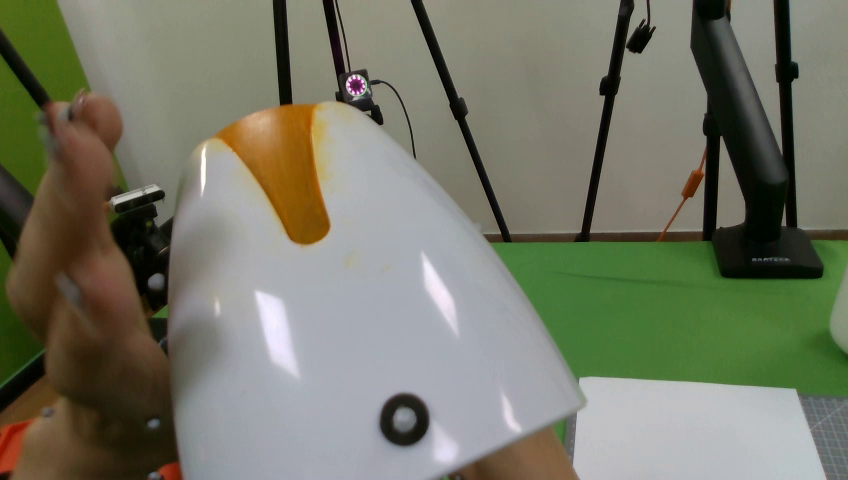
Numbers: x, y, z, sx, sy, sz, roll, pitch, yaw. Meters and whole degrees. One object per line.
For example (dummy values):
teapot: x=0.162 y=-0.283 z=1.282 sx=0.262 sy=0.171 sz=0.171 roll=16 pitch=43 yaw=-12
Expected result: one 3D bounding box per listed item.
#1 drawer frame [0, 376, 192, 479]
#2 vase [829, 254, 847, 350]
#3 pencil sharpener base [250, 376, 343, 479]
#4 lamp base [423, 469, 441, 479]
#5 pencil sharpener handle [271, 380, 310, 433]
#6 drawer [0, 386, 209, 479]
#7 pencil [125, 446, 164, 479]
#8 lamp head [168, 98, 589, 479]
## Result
drawer frame: x=-0.318 y=0.242 z=0.564 sx=0.202 sy=0.083 sz=0.211 roll=-14 pitch=27 yaw=-7
vase: x=0.467 y=0.025 z=0.597 sx=0.098 sy=0.201 sz=0.097 roll=-8 pitch=27 yaw=5
pencil sharpener base: x=-0.117 y=0.192 z=0.567 sx=0.061 sy=0.108 sz=0.076 roll=-14 pitch=28 yaw=-7
lamp base: x=0.016 y=0.215 z=0.400 sx=0.161 sy=0.181 sz=0.177 roll=-16 pitch=26 yaw=-10
pencil sharpener handle: x=-0.131 y=0.160 z=0.605 sx=0.036 sy=0.068 sz=0.030 roll=-9 pitch=27 yaw=-9
drawer: x=-0.315 y=0.245 z=0.563 sx=0.195 sy=0.074 sz=0.209 roll=-14 pitch=27 yaw=-7
pencil: x=-0.308 y=0.261 z=0.536 sx=0.012 sy=0.012 sz=0.193 roll=13 pitch=47 yaw=37
lamp head: x=-0.025 y=0.020 z=0.192 sx=0.112 sy=0.113 sz=0.122 roll=-19 pitch=66 yaw=-16
